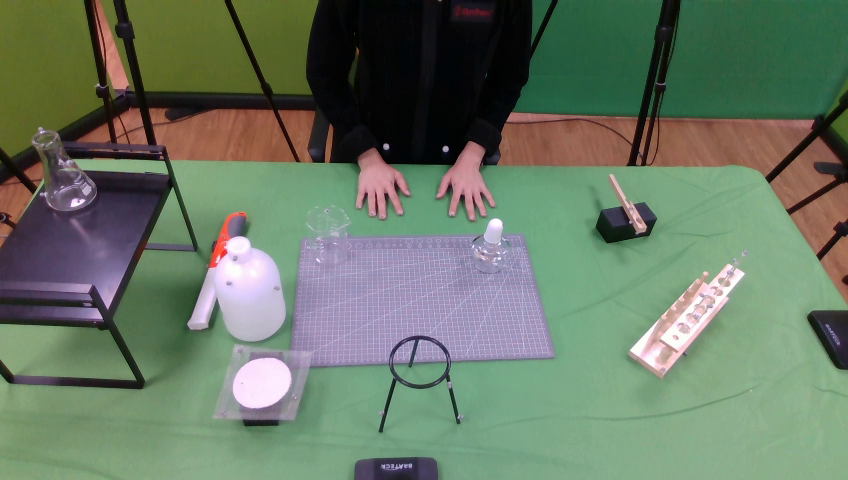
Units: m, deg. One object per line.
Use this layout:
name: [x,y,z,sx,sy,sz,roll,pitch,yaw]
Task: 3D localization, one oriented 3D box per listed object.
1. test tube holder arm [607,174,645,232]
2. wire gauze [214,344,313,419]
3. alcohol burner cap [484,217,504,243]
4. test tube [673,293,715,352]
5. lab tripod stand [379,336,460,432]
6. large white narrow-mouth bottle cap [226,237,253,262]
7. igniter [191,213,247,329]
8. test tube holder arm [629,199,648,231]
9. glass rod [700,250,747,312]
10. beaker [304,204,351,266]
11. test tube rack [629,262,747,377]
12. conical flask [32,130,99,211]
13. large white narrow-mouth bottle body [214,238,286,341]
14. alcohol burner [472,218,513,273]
test tube holder arm: [0.411,-0.080,1.238,0.013,0.015,0.177,1,41,-13]
wire gauze: [-0.241,0.213,0.916,0.121,0.011,0.124,5,46,1]
alcohol burner cap: [0.130,-0.021,1.107,0.034,0.048,0.033,6,46,-6]
test tube: [0.429,0.137,0.979,0.017,0.151,0.017,5,46,-5]
lab tripod stand: [-0.011,0.214,0.911,0.148,0.132,0.147,1,45,0]
large white narrow-mouth bottle cap: [-0.281,0.014,0.923,0.038,0.024,0.037,2,46,-2]
igniter: [-0.376,0.047,1.121,0.057,0.025,0.275,-4,46,6]
test tube holder arm: [0.423,-0.050,1.206,0.010,0.015,0.087,1,41,-12]
glass rod: [0.500,0.075,1.021,0.008,0.201,0.008,0,55,1]
beaker: [-0.178,-0.006,1.132,0.084,0.101,0.073,4,46,-1]
test tube rack: [0.464,0.126,1.060,0.242,0.085,0.066,-34,56,-31]
conical flask: [-0.565,-0.110,0.944,0.075,0.122,0.075,2,46,-2]
large white narrow-mouth bottle body: [-0.285,0.073,0.986,0.102,0.195,0.101,2,46,-2]
alcohol burner: [0.129,0.005,1.132,0.078,0.120,0.077,0,47,0]
